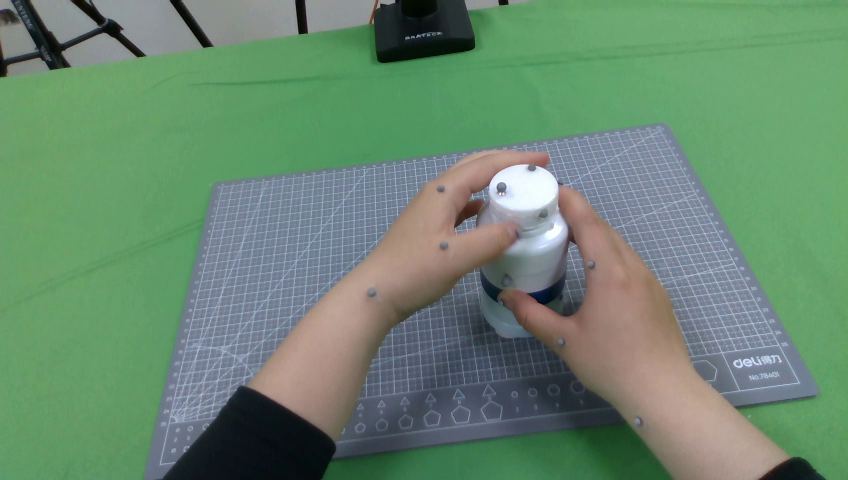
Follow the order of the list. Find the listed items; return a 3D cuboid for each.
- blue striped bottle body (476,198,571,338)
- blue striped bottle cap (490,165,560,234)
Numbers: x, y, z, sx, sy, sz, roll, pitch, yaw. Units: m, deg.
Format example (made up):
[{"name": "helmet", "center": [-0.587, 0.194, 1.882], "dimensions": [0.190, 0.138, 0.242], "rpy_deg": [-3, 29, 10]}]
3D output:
[{"name": "blue striped bottle body", "center": [0.069, 0.010, 0.421], "dimensions": [0.063, 0.122, 0.062], "rpy_deg": [-4, 47, 5]}, {"name": "blue striped bottle cap", "center": [0.063, -0.026, 0.380], "dimensions": [0.044, 0.021, 0.044], "rpy_deg": [-6, 46, 6]}]
